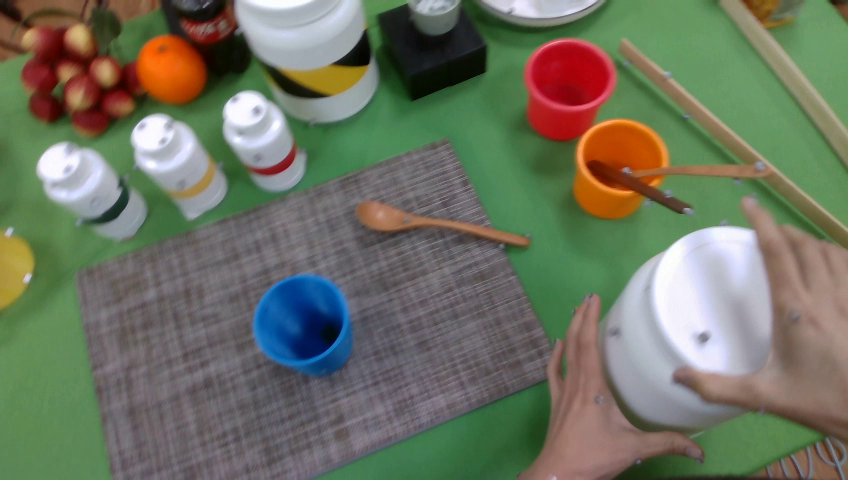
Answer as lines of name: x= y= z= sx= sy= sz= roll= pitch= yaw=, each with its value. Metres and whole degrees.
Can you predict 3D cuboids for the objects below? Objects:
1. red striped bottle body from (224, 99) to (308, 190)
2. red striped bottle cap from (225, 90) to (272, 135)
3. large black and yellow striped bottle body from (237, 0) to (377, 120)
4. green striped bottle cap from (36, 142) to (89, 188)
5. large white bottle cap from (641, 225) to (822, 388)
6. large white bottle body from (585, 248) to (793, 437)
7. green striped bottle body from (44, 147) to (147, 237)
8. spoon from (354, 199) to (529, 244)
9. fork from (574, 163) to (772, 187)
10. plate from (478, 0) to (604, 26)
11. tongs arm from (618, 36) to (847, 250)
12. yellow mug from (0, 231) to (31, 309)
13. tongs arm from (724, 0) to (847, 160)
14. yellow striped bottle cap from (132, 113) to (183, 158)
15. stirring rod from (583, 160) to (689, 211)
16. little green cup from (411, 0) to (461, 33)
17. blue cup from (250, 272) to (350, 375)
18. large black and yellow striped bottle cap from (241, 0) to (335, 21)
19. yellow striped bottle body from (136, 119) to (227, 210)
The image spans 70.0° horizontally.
red striped bottle body: x=-0.173 y=-0.108 z=0.661 sx=0.063 sy=0.120 sz=0.062 roll=-3 pitch=66 yaw=7
red striped bottle cap: x=-0.178 y=-0.130 z=0.612 sx=0.044 sy=0.018 sz=0.044 roll=0 pitch=65 yaw=0
large black and yellow striped bottle body: x=-0.128 y=-0.236 z=0.676 sx=0.131 sy=0.185 sz=0.130 roll=-1 pitch=67 yaw=3
green striped bottle cap: x=-0.357 y=-0.074 z=0.599 sx=0.044 sy=0.020 sz=0.044 roll=-1 pitch=66 yaw=2
large white bottle cap: x=0.208 y=0.042 z=0.413 sx=0.115 sy=0.018 sz=0.114 roll=-1 pitch=64 yaw=2
large white bottle body: x=0.212 y=0.080 z=0.489 sx=0.130 sy=0.186 sz=0.129 roll=-1 pitch=64 yaw=2
green striped bottle body: x=-0.353 y=-0.054 z=0.647 sx=0.063 sy=0.120 sz=0.062 roll=-1 pitch=67 yaw=3
spoon: x=0.019 y=-0.017 z=0.662 sx=0.193 sy=0.022 sz=0.041 roll=9 pitch=43 yaw=6
fork: x=0.238 y=-0.068 z=0.607 sx=0.206 sy=0.019 sz=0.028 roll=4 pitch=58 yaw=53
plate: x=0.151 y=-0.360 z=0.793 sx=0.209 sy=0.038 sz=0.207 roll=-1 pitch=68 yaw=2
tongs arm: x=0.368 y=-0.110 z=0.679 sx=0.051 sy=0.027 sz=0.382 roll=-33 pitch=70 yaw=-14
yellow mug: x=-0.488 y=0.039 z=0.644 sx=0.100 sy=0.064 sz=0.130 roll=-12 pitch=68 yaw=-3
tongs arm: x=0.445 y=-0.151 z=0.694 sx=0.028 sy=0.028 sz=0.384 roll=-17 pitch=68 yaw=-11
yellow striped bottle cap: x=-0.267 y=-0.105 z=0.607 sx=0.044 sy=0.019 sz=0.044 roll=0 pitch=68 yaw=1
stirring rod: x=0.208 y=-0.058 z=0.612 sx=0.014 sy=0.006 sz=0.174 roll=-19 pitch=24 yaw=-8
little green cup: x=0.014 y=-0.276 z=0.710 sx=0.061 sy=0.039 sz=0.061 roll=-1 pitch=66 yaw=2
blue cup: x=-0.109 y=0.089 z=0.581 sx=0.092 sy=0.101 sz=0.092 roll=-1 pitch=66 yaw=2
large black and yellow striped bottle cap: x=-0.132 y=-0.267 z=0.598 sx=0.115 sy=0.019 sz=0.114 roll=-1 pitch=67 yaw=4
yellow striped bottle body: x=-0.264 y=-0.085 z=0.655 sx=0.063 sy=0.121 sz=0.062 roll=-1 pitch=67 yaw=4
